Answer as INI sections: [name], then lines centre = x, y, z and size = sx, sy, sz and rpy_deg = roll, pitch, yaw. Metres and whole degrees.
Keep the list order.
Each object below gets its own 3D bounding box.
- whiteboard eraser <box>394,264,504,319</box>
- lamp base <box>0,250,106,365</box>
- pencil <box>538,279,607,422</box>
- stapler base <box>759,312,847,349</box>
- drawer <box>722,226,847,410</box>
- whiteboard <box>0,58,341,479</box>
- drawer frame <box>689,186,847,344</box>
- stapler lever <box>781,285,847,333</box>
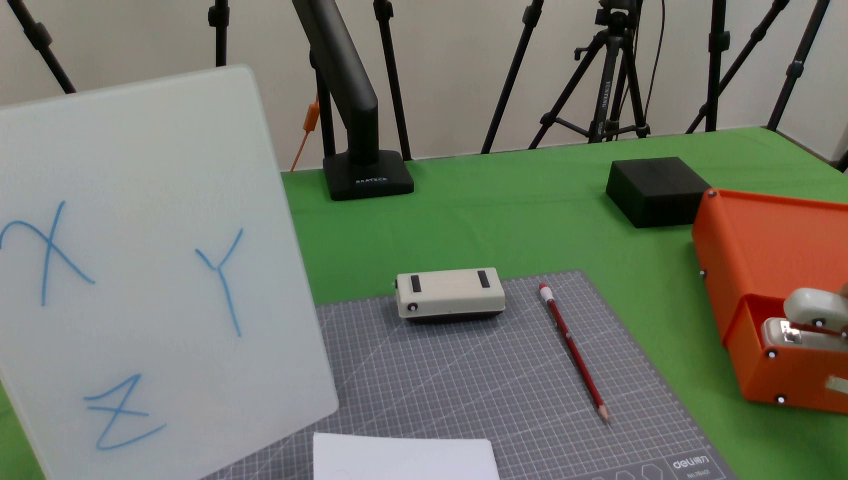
[whiteboard eraser]
centre = 0.026, 0.056, 0.646
size = 0.113, 0.042, 0.055
rpy_deg = -3, 36, -7
[lamp base]
centre = -0.423, 0.003, 0.579
size = 0.178, 0.182, 0.160
rpy_deg = 16, 37, 23
[pencil]
centre = 0.148, 0.104, 0.612
size = 0.012, 0.012, 0.192
rpy_deg = -4, 37, -8
[stapler base]
centre = 0.376, 0.084, 0.545
size = 0.130, 0.025, 0.041
rpy_deg = 7, 47, 12
[drawer]
centre = 0.406, 0.072, 0.613
size = 0.194, 0.074, 0.210
rpy_deg = 6, 35, 8
[whiteboard]
centre = -0.224, 0.030, 0.494
size = 0.218, 0.307, 0.142
rpy_deg = -21, 22, -27
[drawer frame]
centre = 0.417, 0.033, 0.668
size = 0.201, 0.083, 0.212
rpy_deg = 7, 35, 8
[stapler lever]
centre = 0.376, 0.065, 0.527
size = 0.118, 0.040, 0.026
rpy_deg = 7, 47, 12
